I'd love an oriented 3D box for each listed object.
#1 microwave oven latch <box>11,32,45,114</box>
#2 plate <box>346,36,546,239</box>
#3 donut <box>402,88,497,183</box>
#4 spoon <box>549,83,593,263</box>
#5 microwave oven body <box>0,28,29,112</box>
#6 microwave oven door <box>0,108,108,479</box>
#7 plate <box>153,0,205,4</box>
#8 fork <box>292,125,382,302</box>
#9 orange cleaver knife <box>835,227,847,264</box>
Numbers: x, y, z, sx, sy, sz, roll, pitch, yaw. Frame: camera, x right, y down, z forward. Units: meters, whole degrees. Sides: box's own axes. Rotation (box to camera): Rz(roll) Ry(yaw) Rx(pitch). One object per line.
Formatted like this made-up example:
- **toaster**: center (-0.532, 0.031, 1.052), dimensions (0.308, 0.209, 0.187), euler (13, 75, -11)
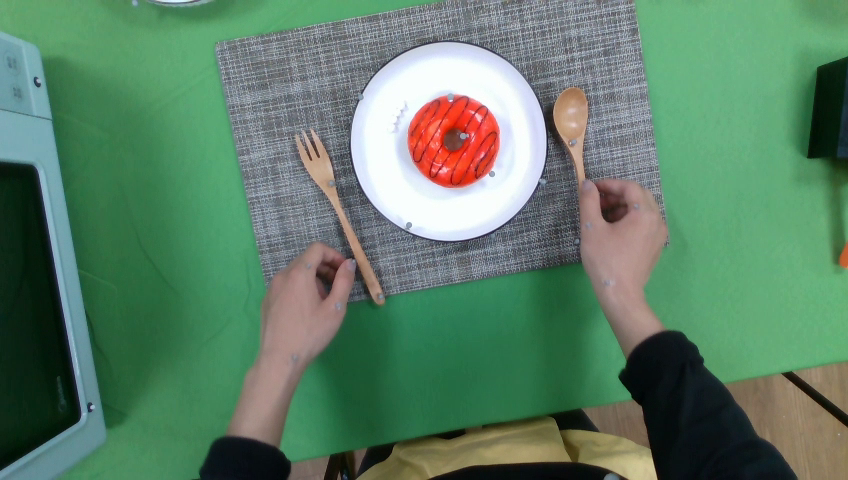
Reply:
- **microwave oven latch**: center (-0.416, -0.170, 0.622), dimensions (0.030, 0.029, 0.079), euler (-7, 96, 0)
- **plate**: center (0.022, -0.106, 0.643), dimensions (0.209, 0.038, 0.209), euler (0, 95, 0)
- **donut**: center (0.027, -0.108, 0.631), dimensions (0.099, 0.048, 0.099), euler (0, 97, 2)
- **spoon**: center (0.164, -0.070, 0.654), dimensions (0.042, 0.021, 0.194), euler (-12, 95, -24)
- **microwave oven body**: center (-0.541, 0.031, 0.543), dimensions (0.326, 0.259, 0.442), euler (-7, 96, 0)
- **microwave oven door**: center (-0.390, 0.056, 0.541), dimensions (0.039, 0.243, 0.356), euler (-8, 95, 1)
- **plate**: center (-0.254, -0.347, 0.625), dimensions (0.208, 0.039, 0.208), euler (0, 95, 0)
- **fork**: center (-0.091, -0.026, 0.659), dimensions (0.028, 0.018, 0.207), euler (-25, 94, -13)
- **orange cleaver knife**: center (0.470, -0.074, 0.628), dimensions (0.012, 0.076, 0.213), euler (5, 124, 2)
